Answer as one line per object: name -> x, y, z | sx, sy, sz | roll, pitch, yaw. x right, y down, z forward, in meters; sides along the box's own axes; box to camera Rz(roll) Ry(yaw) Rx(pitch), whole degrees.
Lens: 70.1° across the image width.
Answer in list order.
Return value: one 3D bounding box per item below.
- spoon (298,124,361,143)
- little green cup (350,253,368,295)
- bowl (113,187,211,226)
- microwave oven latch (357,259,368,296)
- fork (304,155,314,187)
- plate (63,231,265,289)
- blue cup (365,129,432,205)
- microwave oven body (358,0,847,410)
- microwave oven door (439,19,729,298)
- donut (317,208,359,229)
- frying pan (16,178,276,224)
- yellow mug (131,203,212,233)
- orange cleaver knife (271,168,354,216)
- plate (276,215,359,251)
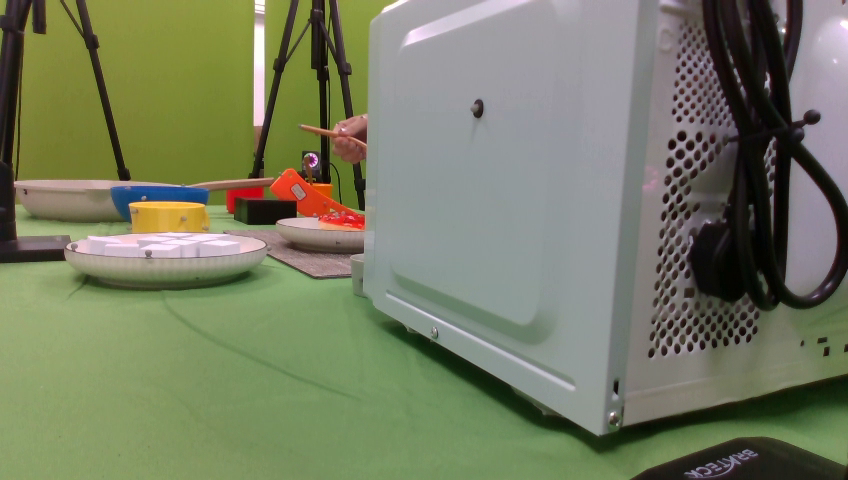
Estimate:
spoon -> -0.120, -0.168, 1.015 | 0.193, 0.021, 0.041 | 20, 16, 7
little green cup -> -0.048, 0.035, 0.632 | 0.061, 0.038, 0.061 | 3, 6, 0
bowl -> -0.437, -0.046, 1.013 | 0.151, 0.077, 0.151 | 2, 8, 0
microwave oven latch -> -0.019, 0.031, 0.528 | 0.079, 0.029, 0.030 | -1, 7, -25
fork -> -0.268, -0.134, 1.446 | 0.028, 0.018, 0.207 | 1, -36, -1
plate -> -0.288, 0.021, 0.687 | 0.208, 0.039, 0.207 | 2, 8, 0
blue cup -> -0.036, -0.116, 1.005 | 0.093, 0.100, 0.092 | -30, -5, -3
microwave oven body -> 0.210, -0.051, 0.471 | 0.444, 0.260, 0.324 | -1, 7, -28
microwave oven door -> 0.181, -0.076, 0.618 | 0.358, 0.243, 0.039 | -2, 8, -28
donut -> -0.118, -0.024, 0.954 | 0.099, 0.048, 0.099 | 6, 7, 0
frying pan -> -0.554, -0.097, 1.266 | 0.490, 0.102, 0.305 | -10, 13, -24
yellow mug -> -0.356, -0.020, 0.878 | 0.099, 0.064, 0.131 | 4, 7, 22
orange cleaver knife -> -0.237, -0.084, 1.332 | 0.212, 0.077, 0.012 | 31, -9, -31
plate -> -0.126, -0.012, 0.950 | 0.209, 0.038, 0.209 | 2, 7, 0
